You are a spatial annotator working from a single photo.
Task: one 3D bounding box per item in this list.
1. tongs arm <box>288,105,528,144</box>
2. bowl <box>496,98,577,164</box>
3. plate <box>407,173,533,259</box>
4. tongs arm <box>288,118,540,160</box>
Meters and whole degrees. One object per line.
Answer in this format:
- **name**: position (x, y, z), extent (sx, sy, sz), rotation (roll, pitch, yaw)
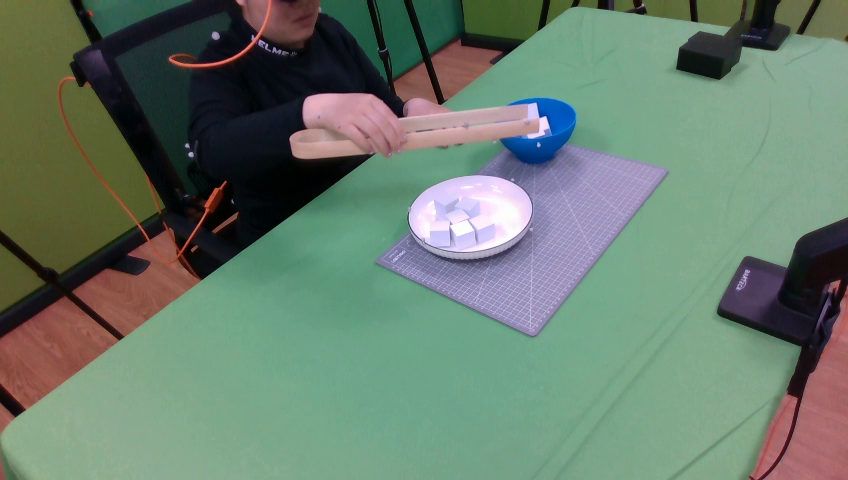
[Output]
- **tongs arm**: position (-0.020, -0.180, 0.965), extent (0.389, 0.028, 0.028), rotation (-9, 37, -8)
- **bowl**: position (0.207, -0.196, 1.128), extent (0.151, 0.077, 0.150), rotation (-5, 40, 5)
- **plate**: position (0.076, -0.037, 0.997), extent (0.207, 0.039, 0.206), rotation (-5, 40, 5)
- **tongs arm**: position (-0.014, -0.160, 0.932), extent (0.386, 0.026, 0.050), rotation (-9, 34, -7)
